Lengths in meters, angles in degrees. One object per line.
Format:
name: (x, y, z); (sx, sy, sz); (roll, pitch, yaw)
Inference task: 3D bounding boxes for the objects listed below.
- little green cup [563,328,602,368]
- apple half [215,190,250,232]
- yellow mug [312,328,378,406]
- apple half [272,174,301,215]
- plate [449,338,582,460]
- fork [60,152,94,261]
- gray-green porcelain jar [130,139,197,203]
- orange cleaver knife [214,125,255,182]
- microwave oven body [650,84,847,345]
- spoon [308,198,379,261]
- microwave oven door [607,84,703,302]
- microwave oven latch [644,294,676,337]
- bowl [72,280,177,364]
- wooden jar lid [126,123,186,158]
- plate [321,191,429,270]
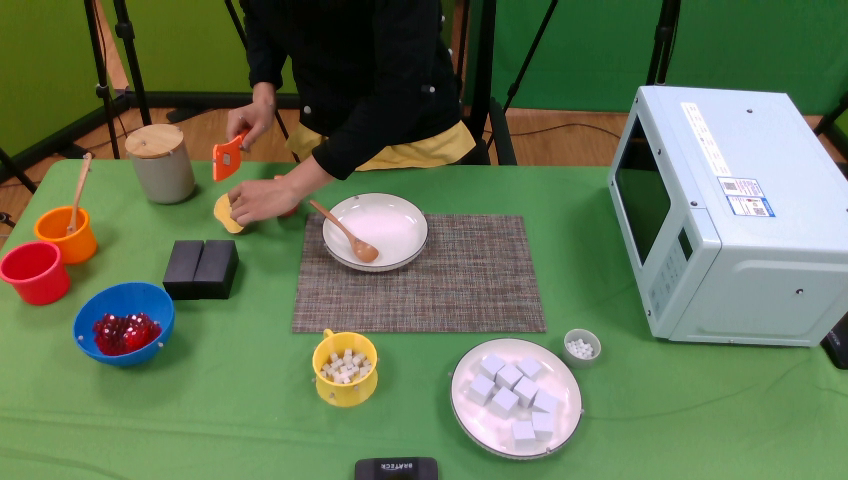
little green cup: (0.266, 0.185, 1.025); (0.061, 0.039, 0.061); (1, 45, -1)
apple half: (-0.366, -0.059, 1.187); (0.081, 0.081, 0.033); (20, 13, 14)
yellow mug: (-0.132, 0.193, 0.971); (0.100, 0.064, 0.130); (-22, 51, -22)
apple half: (-0.276, -0.090, 1.225); (0.053, 0.075, 0.080); (1, 43, -7)
plate: (0.141, 0.251, 0.956); (0.208, 0.039, 0.206); (2, 46, -2)
fork: (-0.638, -0.063, 1.119); (0.028, 0.018, 0.207); (12, 90, 8)
gray-green porcelain jar: (-0.522, -0.147, 1.224); (0.106, 0.127, 0.105); (2, 47, -2)
orange cleaver knife: (-0.376, -0.176, 1.206); (0.012, 0.077, 0.210); (5, 26, 3)
microwave oven body: (0.569, -0.054, 1.116); (0.326, 0.261, 0.439); (2, 46, -1)
spoon: (-0.159, -0.025, 1.172); (0.041, 0.022, 0.193); (-38, 71, -26)
microwave oven door: (0.423, -0.096, 1.138); (0.039, 0.245, 0.353); (3, 46, -1)
microwave oven latch: (0.411, 0.132, 1.061); (0.030, 0.029, 0.078); (1, 46, -2)
bowl: (-0.473, 0.147, 0.982); (0.151, 0.077, 0.150); (2, 46, -2)
wooden jar lid: (-0.519, -0.190, 1.179); (0.108, 0.021, 0.107); (2, 44, -2)
plate: (-0.094, -0.015, 1.185); (0.209, 0.038, 0.208); (2, 46, -2)
